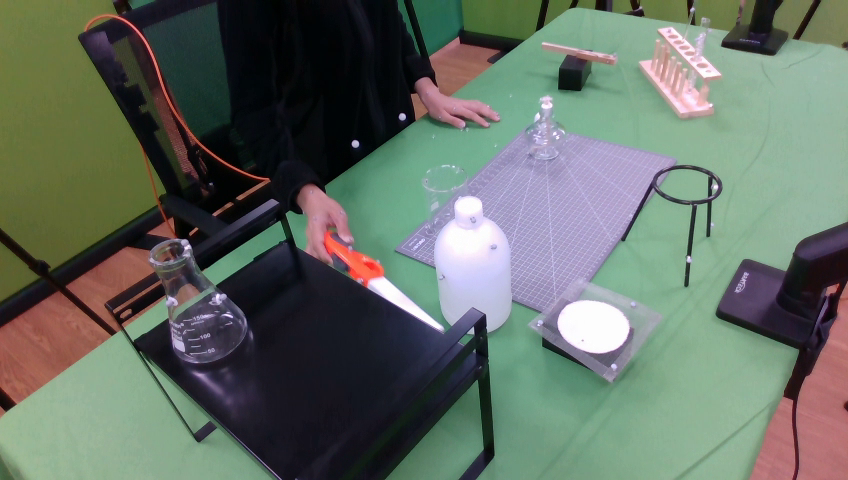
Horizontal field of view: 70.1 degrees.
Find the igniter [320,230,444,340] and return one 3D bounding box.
[{"bbox_3d":[-0.069,0.052,0.833,0.057,0.025,0.274,-9,33,-38],"label":"igniter"}]

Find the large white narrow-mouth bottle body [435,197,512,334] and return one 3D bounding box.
[{"bbox_3d":[0.066,0.028,0.805,0.102,0.195,0.101,-4,40,4],"label":"large white narrow-mouth bottle body"}]

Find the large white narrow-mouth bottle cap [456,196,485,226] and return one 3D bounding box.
[{"bbox_3d":[0.057,-0.036,0.749,0.038,0.024,0.037,-4,40,4],"label":"large white narrow-mouth bottle cap"}]

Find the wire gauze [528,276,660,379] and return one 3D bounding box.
[{"bbox_3d":[0.214,0.103,0.763,0.124,0.011,0.122,30,52,35],"label":"wire gauze"}]

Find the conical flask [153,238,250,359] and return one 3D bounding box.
[{"bbox_3d":[-0.225,0.055,0.597,0.075,0.122,0.075,-5,41,4],"label":"conical flask"}]

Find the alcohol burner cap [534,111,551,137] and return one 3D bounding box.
[{"bbox_3d":[0.235,-0.231,1.197,0.034,0.048,0.033,-5,39,5],"label":"alcohol burner cap"}]

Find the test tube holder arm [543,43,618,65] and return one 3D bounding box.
[{"bbox_3d":[0.345,-0.413,1.341,0.177,0.015,0.013,25,50,31],"label":"test tube holder arm"}]

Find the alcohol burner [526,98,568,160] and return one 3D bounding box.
[{"bbox_3d":[0.228,-0.210,1.118,0.078,0.119,0.077,-5,43,5],"label":"alcohol burner"}]

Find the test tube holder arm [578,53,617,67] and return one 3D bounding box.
[{"bbox_3d":[0.376,-0.393,1.314,0.087,0.015,0.010,26,51,32],"label":"test tube holder arm"}]

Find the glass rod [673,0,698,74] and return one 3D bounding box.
[{"bbox_3d":[0.537,-0.425,1.244,0.008,0.200,0.008,0,47,0],"label":"glass rod"}]

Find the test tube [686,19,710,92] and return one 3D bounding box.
[{"bbox_3d":[0.540,-0.360,1.193,0.017,0.151,0.017,-4,43,4],"label":"test tube"}]

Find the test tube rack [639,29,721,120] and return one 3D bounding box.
[{"bbox_3d":[0.527,-0.351,1.262,0.067,0.085,0.241,-8,40,1],"label":"test tube rack"}]

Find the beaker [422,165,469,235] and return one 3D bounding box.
[{"bbox_3d":[0.041,-0.063,0.986,0.073,0.101,0.084,20,47,29],"label":"beaker"}]

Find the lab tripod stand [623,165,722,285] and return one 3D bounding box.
[{"bbox_3d":[0.365,-0.030,0.874,0.148,0.132,0.147,-6,41,6],"label":"lab tripod stand"}]
